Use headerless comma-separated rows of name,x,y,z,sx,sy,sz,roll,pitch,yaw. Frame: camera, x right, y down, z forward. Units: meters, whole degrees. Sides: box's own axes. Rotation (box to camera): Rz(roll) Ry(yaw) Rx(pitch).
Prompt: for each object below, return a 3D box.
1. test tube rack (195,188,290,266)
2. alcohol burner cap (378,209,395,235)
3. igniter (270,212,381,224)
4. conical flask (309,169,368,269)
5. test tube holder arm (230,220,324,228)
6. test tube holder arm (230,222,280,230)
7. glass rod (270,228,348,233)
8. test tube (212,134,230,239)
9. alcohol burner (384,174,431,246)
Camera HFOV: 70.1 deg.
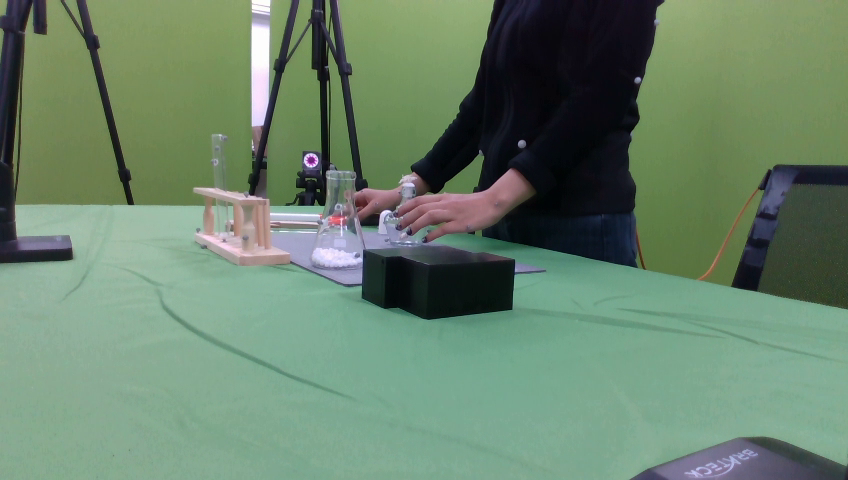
test tube rack,-0.266,-0.025,0.864,0.067,0.085,0.241,-2,9,-33
alcohol burner cap,-0.070,-0.035,1.144,0.034,0.048,0.034,2,8,0
igniter,-0.212,-0.047,1.276,0.278,0.025,0.057,0,8,-25
conical flask,-0.106,-0.028,0.762,0.075,0.122,0.075,2,7,0
test tube holder arm,-0.275,-0.030,1.144,0.179,0.015,0.013,-2,43,-31
test tube holder arm,-0.312,-0.025,1.118,0.088,0.015,0.010,-1,43,-30
glass rod,-0.234,-0.017,1.105,0.201,0.008,0.008,1,7,-26
test tube,-0.290,-0.076,0.863,0.017,0.150,0.017,-2,6,0
alcohol burner,-0.026,-0.049,0.994,0.078,0.119,0.078,2,9,0
